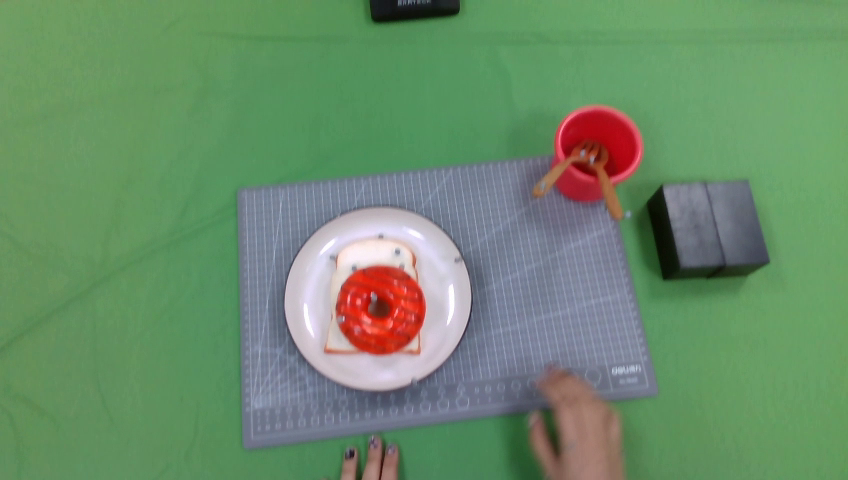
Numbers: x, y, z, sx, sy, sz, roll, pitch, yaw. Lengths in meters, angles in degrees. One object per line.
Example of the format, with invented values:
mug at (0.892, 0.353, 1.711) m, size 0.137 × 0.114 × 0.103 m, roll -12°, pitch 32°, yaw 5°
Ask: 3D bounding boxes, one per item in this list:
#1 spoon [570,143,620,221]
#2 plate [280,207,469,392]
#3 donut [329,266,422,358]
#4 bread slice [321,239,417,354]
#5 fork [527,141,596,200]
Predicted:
spoon at (0.190, -0.068, 0.669) m, size 0.041 × 0.022 × 0.192 m, roll 1°, pitch 26°, yaw 5°
plate at (-0.054, 0.066, 0.676) m, size 0.209 × 0.038 × 0.207 m, roll 0°, pitch 71°, yaw -1°
donut at (-0.051, 0.075, 0.644) m, size 0.099 × 0.048 × 0.098 m, roll 1°, pitch 75°, yaw -4°
bread slice at (-0.061, 0.062, 0.679) m, size 0.105 × 0.019 × 0.130 m, roll 0°, pitch 72°, yaw -2°
fork at (0.153, -0.079, 0.665) m, size 0.028 × 0.019 × 0.207 m, roll 26°, pitch 30°, yaw 19°
